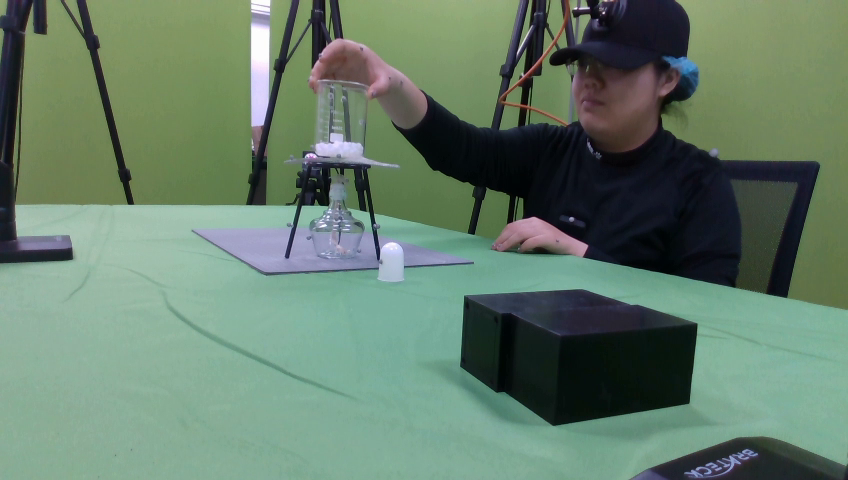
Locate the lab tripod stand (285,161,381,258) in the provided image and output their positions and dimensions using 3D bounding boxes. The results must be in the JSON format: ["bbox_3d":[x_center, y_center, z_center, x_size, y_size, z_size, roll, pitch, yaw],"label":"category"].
[{"bbox_3d":[-0.123,-0.043,0.842,0.148,0.131,0.148,3,9,0],"label":"lab tripod stand"}]

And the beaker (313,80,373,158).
[{"bbox_3d":[-0.112,-0.164,0.833,0.084,0.100,0.073,0,9,-30],"label":"beaker"}]

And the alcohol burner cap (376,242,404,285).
[{"bbox_3d":[-0.039,0.026,0.709,0.034,0.048,0.034,3,6,0],"label":"alcohol burner cap"}]

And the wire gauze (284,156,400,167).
[{"bbox_3d":[-0.115,-0.109,0.835,0.126,0.011,0.121,-3,10,-30],"label":"wire gauze"}]

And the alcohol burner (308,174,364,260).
[{"bbox_3d":[-0.121,-0.033,0.843,0.078,0.119,0.078,3,5,0],"label":"alcohol burner"}]
